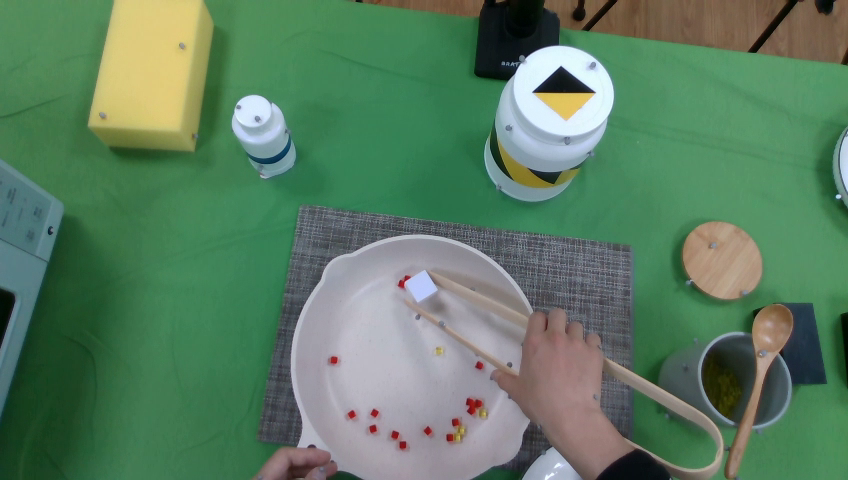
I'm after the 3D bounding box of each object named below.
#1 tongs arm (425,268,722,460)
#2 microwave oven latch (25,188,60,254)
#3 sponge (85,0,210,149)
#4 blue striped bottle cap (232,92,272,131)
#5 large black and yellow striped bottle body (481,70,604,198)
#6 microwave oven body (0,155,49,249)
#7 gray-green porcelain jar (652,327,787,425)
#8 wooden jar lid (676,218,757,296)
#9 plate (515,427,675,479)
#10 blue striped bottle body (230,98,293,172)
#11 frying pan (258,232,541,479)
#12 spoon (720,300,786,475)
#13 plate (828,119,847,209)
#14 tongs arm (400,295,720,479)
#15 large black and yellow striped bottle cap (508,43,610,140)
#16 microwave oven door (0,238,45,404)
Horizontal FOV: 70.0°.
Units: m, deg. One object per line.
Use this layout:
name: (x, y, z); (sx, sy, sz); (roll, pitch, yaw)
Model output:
tongs arm: (0.138, 0.115, 0.660); (0.384, 0.028, 0.028); (28, 60, 37)
microwave oven latch: (-0.476, -0.025, 0.745); (0.030, 0.029, 0.079); (10, 74, -1)
sponge: (-0.369, -0.233, 0.820); (0.118, 0.061, 0.205); (2, 74, -3)
blue striped bottle cap: (-0.205, -0.154, 0.723); (0.044, 0.021, 0.044); (1, 75, -3)
large black and yellow striped bottle body: (0.147, -0.143, 0.764); (0.131, 0.185, 0.130); (1, 73, -3)
microwave oven body: (-0.639, 0.096, 0.599); (0.326, 0.261, 0.439); (7, 74, -2)
gray-green porcelain jar: (0.339, 0.164, 0.715); (0.106, 0.127, 0.105); (1, 73, -3)
wooden jar lid: (0.391, 0.023, 0.815); (0.108, 0.021, 0.108); (1, 75, -3)
plate: (0.197, 0.324, 0.704); (0.208, 0.039, 0.206); (1, 75, -3)
blue striped bottle body: (-0.208, -0.138, 0.772); (0.063, 0.121, 0.062); (1, 73, -3)
frying pan: (-0.086, 0.198, 0.686); (0.487, 0.103, 0.305); (-39, 78, -21)
spoon: (0.346, 0.155, 0.645); (0.042, 0.021, 0.193); (24, 77, -4)
plate: (0.670, -0.093, 0.856); (0.209, 0.038, 0.208); (1, 73, -3)
tongs arm: (0.118, 0.136, 0.650); (0.050, 0.027, 0.381); (-43, 49, -20)
large black and yellow striped bottle cap: (0.153, -0.169, 0.684); (0.115, 0.019, 0.114); (1, 75, -3)
microwave oven door: (-0.499, 0.153, 0.586); (0.039, 0.245, 0.354); (7, 73, -1)
